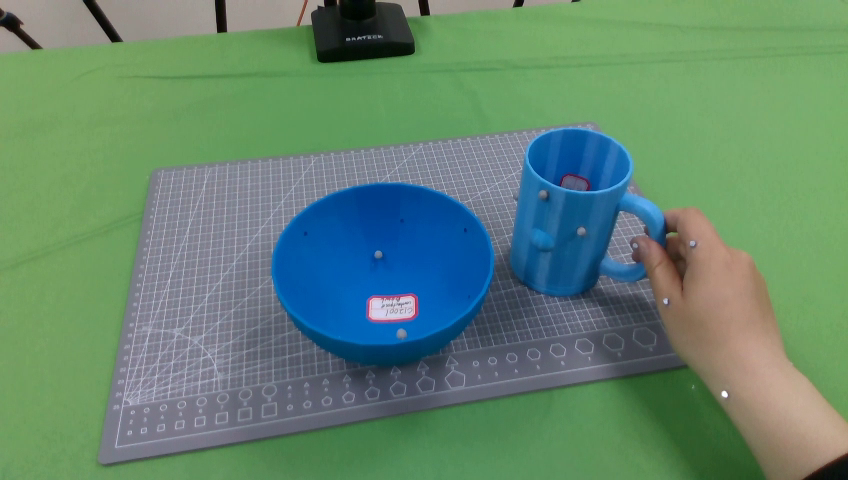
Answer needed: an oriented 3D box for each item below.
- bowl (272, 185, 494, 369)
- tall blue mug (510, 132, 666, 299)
[{"bbox_3d":[-0.027,0.038,0.434,0.151,0.077,0.150,0,45,0],"label":"bowl"},{"bbox_3d":[0.125,-0.015,0.465,0.107,0.109,0.077,6,45,6],"label":"tall blue mug"}]
